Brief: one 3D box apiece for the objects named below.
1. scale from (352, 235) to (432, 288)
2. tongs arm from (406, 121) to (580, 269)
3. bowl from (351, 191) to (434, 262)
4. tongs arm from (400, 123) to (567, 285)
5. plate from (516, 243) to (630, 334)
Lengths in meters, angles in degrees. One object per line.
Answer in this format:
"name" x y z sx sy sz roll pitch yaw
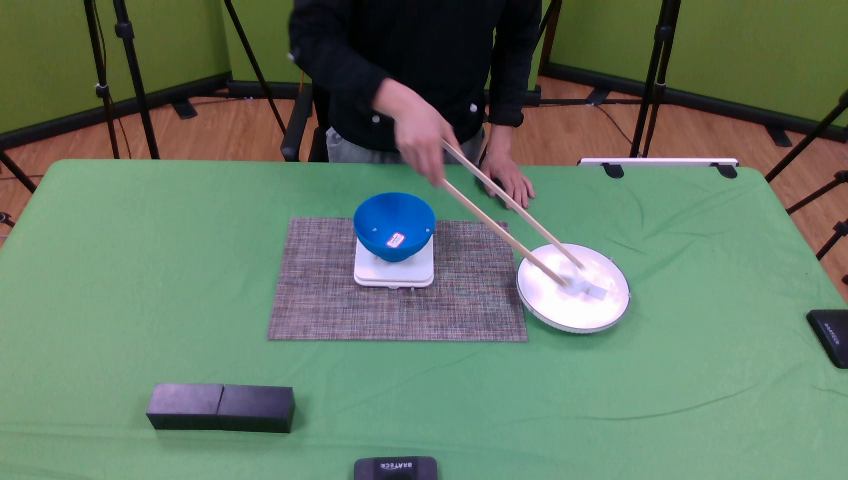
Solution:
"scale" -0.060 0.010 1.171 0.149 0.032 0.199 2 46 -3
"tongs arm" 0.120 -0.081 1.054 0.387 0.028 0.028 42 78 4
"bowl" -0.058 -0.013 1.119 0.151 0.077 0.150 1 46 -1
"tongs arm" 0.103 -0.063 1.046 0.384 0.026 0.050 39 75 3
"plate" 0.272 0.092 1.120 0.208 0.039 0.206 2 46 -2
